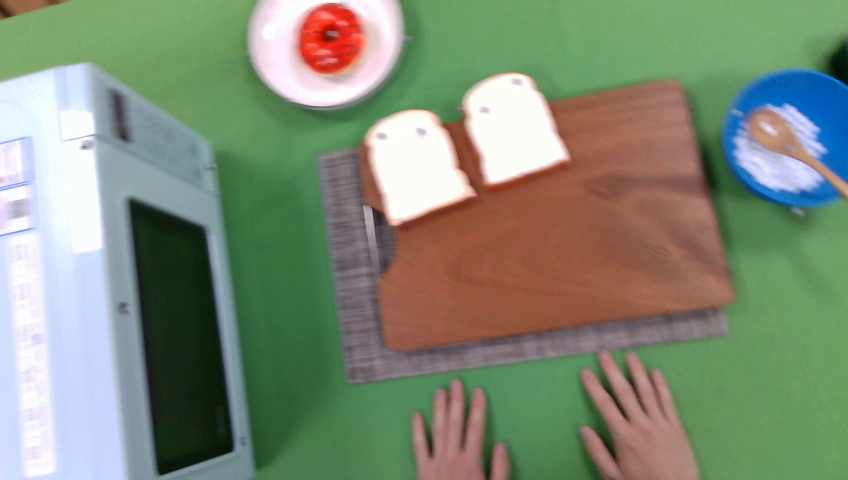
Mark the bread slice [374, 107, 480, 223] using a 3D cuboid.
[{"bbox_3d":[-0.005,-0.096,0.740,0.107,0.018,0.133,-23,77,4],"label":"bread slice"}]

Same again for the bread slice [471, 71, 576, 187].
[{"bbox_3d":[0.111,-0.138,0.730,0.105,0.019,0.131,-19,78,4],"label":"bread slice"}]

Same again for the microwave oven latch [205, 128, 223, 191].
[{"bbox_3d":[-0.282,-0.102,0.787,0.030,0.029,0.079,-10,80,7],"label":"microwave oven latch"}]

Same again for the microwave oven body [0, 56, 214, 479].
[{"bbox_3d":[-0.412,0.081,0.679,0.326,0.261,0.439,-11,80,7],"label":"microwave oven body"}]

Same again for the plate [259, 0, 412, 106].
[{"bbox_3d":[-0.115,-0.274,0.807,0.207,0.039,0.207,-1,81,9],"label":"plate"}]

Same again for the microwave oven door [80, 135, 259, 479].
[{"bbox_3d":[-0.264,0.092,0.649,0.039,0.245,0.354,-12,79,7],"label":"microwave oven door"}]

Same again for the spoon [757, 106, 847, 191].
[{"bbox_3d":[0.426,-0.073,0.635,0.041,0.022,0.191,-35,59,7],"label":"spoon"}]

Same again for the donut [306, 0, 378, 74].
[{"bbox_3d":[-0.108,-0.266,0.792,0.099,0.048,0.098,-2,81,12],"label":"donut"}]

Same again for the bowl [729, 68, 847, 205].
[{"bbox_3d":[0.411,-0.104,0.675,0.151,0.077,0.151,-1,81,9],"label":"bowl"}]
